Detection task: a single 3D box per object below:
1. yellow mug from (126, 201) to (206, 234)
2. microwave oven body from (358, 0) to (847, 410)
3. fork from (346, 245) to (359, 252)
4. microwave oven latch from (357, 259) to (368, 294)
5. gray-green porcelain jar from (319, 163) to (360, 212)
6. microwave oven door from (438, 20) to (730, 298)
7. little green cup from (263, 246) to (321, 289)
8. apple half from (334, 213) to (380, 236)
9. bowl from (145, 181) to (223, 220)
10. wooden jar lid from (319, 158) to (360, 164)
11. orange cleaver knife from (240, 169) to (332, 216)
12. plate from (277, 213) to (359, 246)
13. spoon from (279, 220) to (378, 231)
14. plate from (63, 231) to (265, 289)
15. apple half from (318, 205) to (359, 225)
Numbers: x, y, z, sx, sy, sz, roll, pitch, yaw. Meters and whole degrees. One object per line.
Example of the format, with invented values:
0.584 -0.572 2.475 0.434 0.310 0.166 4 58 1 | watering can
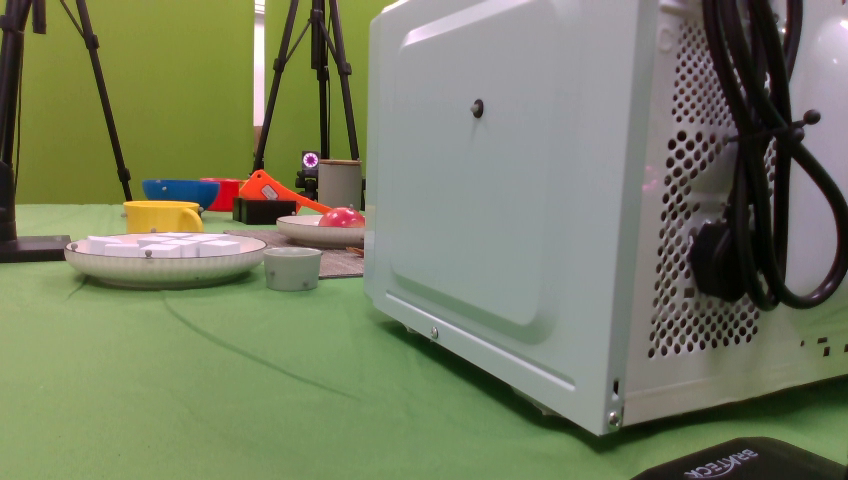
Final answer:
-0.360 -0.019 0.866 0.130 0.064 0.100 6 9 27 | yellow mug
0.210 -0.051 0.471 0.444 0.260 0.324 -1 7 -28 | microwave oven body
-0.027 0.006 0.901 0.208 0.018 0.028 -7 -4 -43 | fork
-0.019 0.031 0.529 0.079 0.029 0.030 -1 7 -27 | microwave oven latch
-0.204 -0.126 1.489 0.106 0.126 0.106 2 7 0 | gray-green porcelain jar
0.181 -0.076 0.618 0.358 0.243 0.039 -2 8 -28 | microwave oven door
-0.142 0.029 0.649 0.061 0.038 0.061 3 7 0 | little green cup
-0.112 -0.029 1.034 0.081 0.033 0.081 1 10 0 | apple half
-0.499 -0.081 1.261 0.151 0.077 0.151 2 8 0 | bowl
-0.203 -0.189 1.482 0.108 0.020 0.108 2 10 0 | wooden jar lid
-0.286 -0.082 1.298 0.212 0.077 0.012 25 -2 -31 | orange cleaver knife
-0.135 -0.018 0.994 0.209 0.038 0.209 2 7 0 | plate
-0.173 -0.029 1.128 0.195 0.021 0.041 -3 -13 -30 | spoon
-0.288 0.021 0.687 0.208 0.039 0.207 2 8 0 | plate
-0.126 -0.028 0.954 0.081 0.053 0.074 -2 11 -33 | apple half
